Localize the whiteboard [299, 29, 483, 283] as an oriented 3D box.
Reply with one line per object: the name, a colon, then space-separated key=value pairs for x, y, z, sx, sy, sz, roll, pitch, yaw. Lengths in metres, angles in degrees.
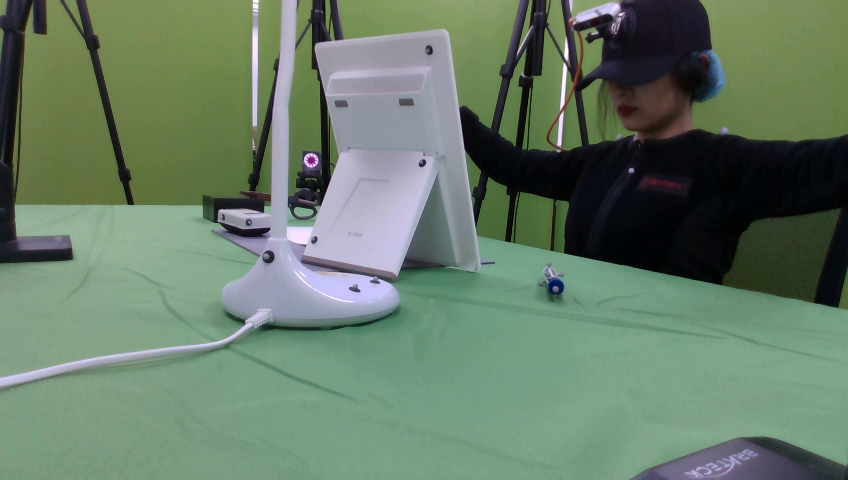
whiteboard: x=-0.074 y=-0.082 z=0.742 sx=0.216 sy=0.305 sz=0.144 roll=9 pitch=29 yaw=38

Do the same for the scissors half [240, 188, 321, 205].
scissors half: x=-0.311 y=-0.097 z=1.319 sx=0.176 sy=0.040 sz=0.012 roll=0 pitch=29 yaw=-25

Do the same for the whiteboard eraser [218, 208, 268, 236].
whiteboard eraser: x=-0.309 y=-0.031 z=1.044 sx=0.056 sy=0.042 sz=0.112 roll=-2 pitch=9 yaw=-40

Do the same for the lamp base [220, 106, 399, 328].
lamp base: x=-0.101 y=-0.023 z=0.531 sx=0.160 sy=0.180 sz=0.179 roll=4 pitch=10 yaw=10

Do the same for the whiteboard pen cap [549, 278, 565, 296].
whiteboard pen cap: x=0.140 y=0.050 z=0.639 sx=0.018 sy=0.018 sz=0.033 roll=4 pitch=2 yaw=9

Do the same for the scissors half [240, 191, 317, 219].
scissors half: x=-0.317 y=-0.079 z=1.326 sx=0.176 sy=0.040 sz=0.013 roll=18 pitch=15 yaw=-31

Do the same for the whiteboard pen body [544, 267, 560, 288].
whiteboard pen body: x=0.149 y=0.046 z=0.697 sx=0.017 sy=0.017 sz=0.141 roll=4 pitch=4 yaw=9
